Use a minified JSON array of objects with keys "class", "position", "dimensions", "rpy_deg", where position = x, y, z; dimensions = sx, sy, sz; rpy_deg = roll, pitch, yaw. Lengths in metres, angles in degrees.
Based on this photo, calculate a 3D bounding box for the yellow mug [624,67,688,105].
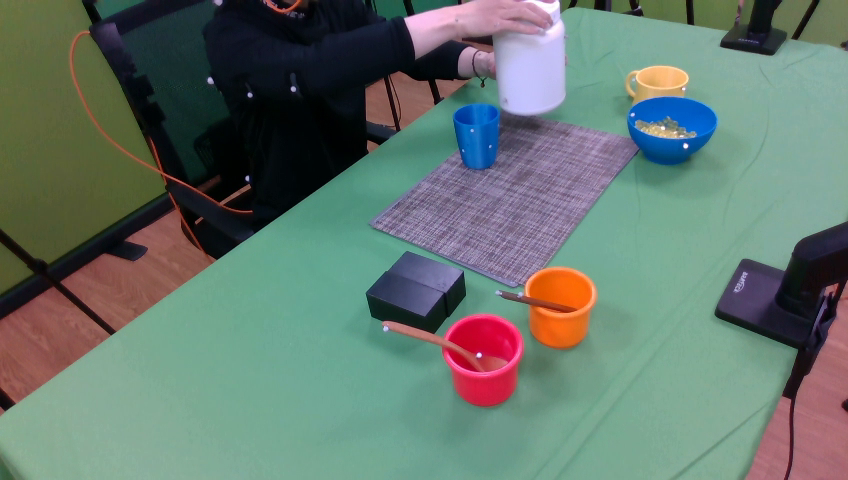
[{"class":"yellow mug","position":[0.464,-0.306,1.230],"dimensions":[0.100,0.064,0.129],"rpy_deg":[-34,46,-27]}]

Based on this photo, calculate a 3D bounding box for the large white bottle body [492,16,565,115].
[{"class":"large white bottle body","position":[0.197,-0.343,1.135],"dimensions":[0.130,0.185,0.130],"rpy_deg":[-7,40,6]}]

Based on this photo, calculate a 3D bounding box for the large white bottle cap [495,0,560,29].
[{"class":"large white bottle cap","position":[0.184,-0.408,1.081],"dimensions":[0.115,0.018,0.114],"rpy_deg":[-6,40,6]}]

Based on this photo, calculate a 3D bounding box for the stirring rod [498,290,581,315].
[{"class":"stirring rod","position":[0.151,0.081,0.772],"dimensions":[0.178,0.006,0.014],"rpy_deg":[16,19,-44]}]

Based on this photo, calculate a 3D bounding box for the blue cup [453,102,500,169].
[{"class":"blue cup","position":[0.099,-0.188,1.115],"dimensions":[0.092,0.100,0.092],"rpy_deg":[-4,39,4]}]

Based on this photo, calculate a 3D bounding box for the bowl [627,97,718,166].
[{"class":"bowl","position":[0.439,-0.187,1.087],"dimensions":[0.151,0.077,0.150],"rpy_deg":[-4,41,4]}]

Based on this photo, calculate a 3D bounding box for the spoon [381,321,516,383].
[{"class":"spoon","position":[0.033,0.131,0.725],"dimensions":[0.195,0.021,0.041],"rpy_deg":[29,29,-26]}]
